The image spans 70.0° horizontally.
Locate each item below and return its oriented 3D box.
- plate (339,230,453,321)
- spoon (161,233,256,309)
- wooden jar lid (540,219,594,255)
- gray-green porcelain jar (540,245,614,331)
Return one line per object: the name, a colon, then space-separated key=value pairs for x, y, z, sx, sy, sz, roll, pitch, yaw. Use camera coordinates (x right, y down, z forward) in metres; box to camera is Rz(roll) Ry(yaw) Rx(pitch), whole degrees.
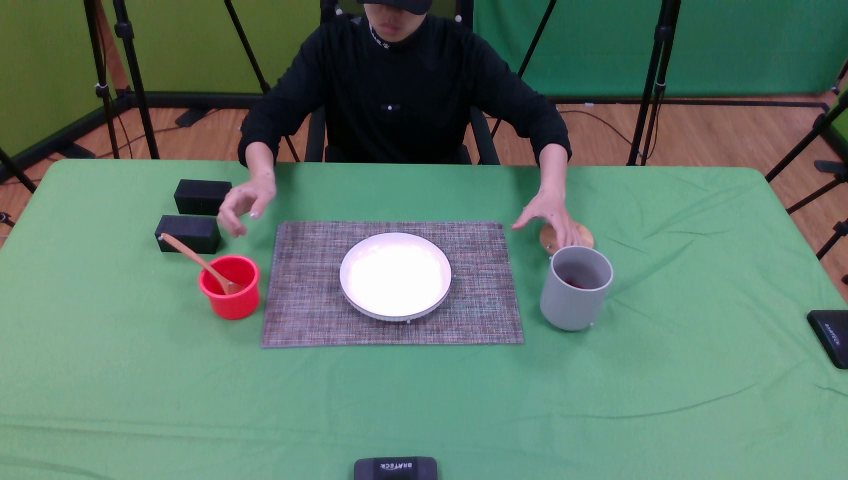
plate: x=-0.051 y=0.068 z=1.111 sx=0.208 sy=0.039 sz=0.206 roll=2 pitch=46 yaw=-2
spoon: x=-0.366 y=0.051 z=1.036 sx=0.194 sy=0.021 sz=0.041 roll=47 pitch=45 yaw=-21
wooden jar lid: x=0.286 y=0.001 z=1.219 sx=0.108 sy=0.021 sz=0.107 roll=1 pitch=46 yaw=-1
gray-green porcelain jar: x=0.262 y=0.088 z=1.058 sx=0.106 sy=0.127 sz=0.105 roll=2 pitch=46 yaw=-2
